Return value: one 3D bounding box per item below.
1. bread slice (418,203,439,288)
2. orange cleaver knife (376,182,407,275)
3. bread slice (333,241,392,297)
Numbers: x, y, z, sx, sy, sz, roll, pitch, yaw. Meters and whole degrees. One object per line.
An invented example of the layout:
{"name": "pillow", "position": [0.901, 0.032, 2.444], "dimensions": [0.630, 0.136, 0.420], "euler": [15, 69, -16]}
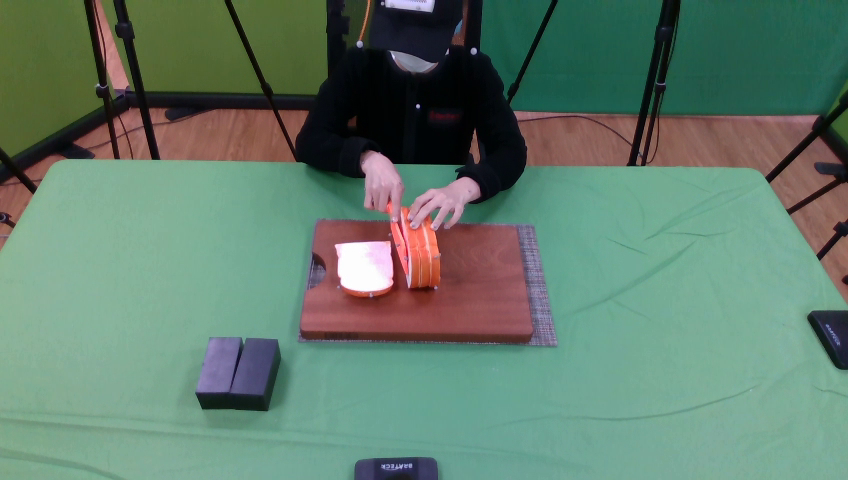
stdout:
{"name": "bread slice", "position": [0.007, 0.018, 1.089], "dimensions": [0.018, 0.107, 0.133], "euler": [-7, 54, -7]}
{"name": "orange cleaver knife", "position": [-0.059, -0.025, 1.118], "dimensions": [0.012, 0.077, 0.210], "euler": [-13, 46, -9]}
{"name": "bread slice", "position": [-0.110, 0.052, 1.096], "dimensions": [0.105, 0.019, 0.130], "euler": [-2, 43, -8]}
